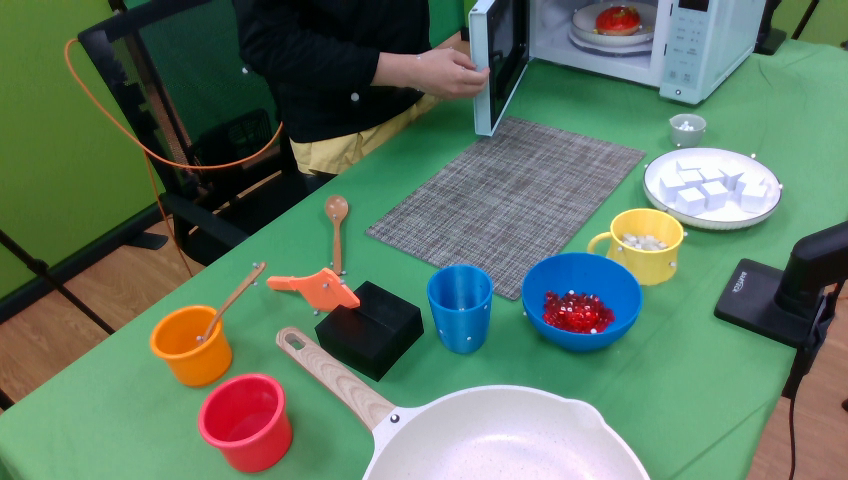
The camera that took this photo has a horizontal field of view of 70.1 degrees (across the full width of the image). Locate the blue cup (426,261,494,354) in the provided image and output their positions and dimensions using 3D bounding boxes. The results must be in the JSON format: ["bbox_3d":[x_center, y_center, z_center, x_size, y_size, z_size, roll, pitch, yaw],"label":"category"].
[{"bbox_3d":[0.049,0.095,0.791,0.092,0.100,0.092,-3,42,3],"label":"blue cup"}]

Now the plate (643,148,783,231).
[{"bbox_3d":[0.464,-0.080,0.986,0.207,0.039,0.206,-4,41,4],"label":"plate"}]

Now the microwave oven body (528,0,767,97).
[{"bbox_3d":[0.473,-0.516,1.313,0.438,0.261,0.327,26,51,34],"label":"microwave oven body"}]

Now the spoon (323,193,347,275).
[{"bbox_3d":[-0.148,-0.014,1.008,0.042,0.022,0.192,1,40,-9],"label":"spoon"}]

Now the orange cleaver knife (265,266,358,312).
[{"bbox_3d":[-0.164,0.073,0.864,0.210,0.077,0.012,-6,31,50],"label":"orange cleaver knife"}]

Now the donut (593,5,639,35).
[{"bbox_3d":[0.428,-0.490,1.349,0.099,0.048,0.098,-6,40,6],"label":"donut"}]

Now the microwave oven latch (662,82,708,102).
[{"bbox_3d":[0.518,-0.298,1.202,0.078,0.029,0.030,28,52,35],"label":"microwave oven latch"}]

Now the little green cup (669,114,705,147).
[{"bbox_3d":[0.485,-0.203,1.123,0.061,0.039,0.061,-5,40,5],"label":"little green cup"}]

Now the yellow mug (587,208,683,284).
[{"bbox_3d":[0.305,0.009,0.884,0.131,0.064,0.099,-4,41,5],"label":"yellow mug"}]

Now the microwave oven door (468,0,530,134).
[{"bbox_3d":[0.161,-0.413,1.231,0.039,0.245,0.355,9,43,18],"label":"microwave oven door"}]

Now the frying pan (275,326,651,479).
[{"bbox_3d":[0.004,0.229,0.641,0.484,0.103,0.308,34,54,28],"label":"frying pan"}]

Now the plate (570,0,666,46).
[{"bbox_3d":[0.436,-0.488,1.368,0.209,0.038,0.208,-4,41,4],"label":"plate"}]

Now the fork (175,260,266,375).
[{"bbox_3d":[-0.268,0.102,0.792,0.207,0.019,0.028,-51,41,16],"label":"fork"}]

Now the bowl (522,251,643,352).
[{"bbox_3d":[0.204,0.093,0.792,0.151,0.077,0.150,-4,40,4],"label":"bowl"}]
